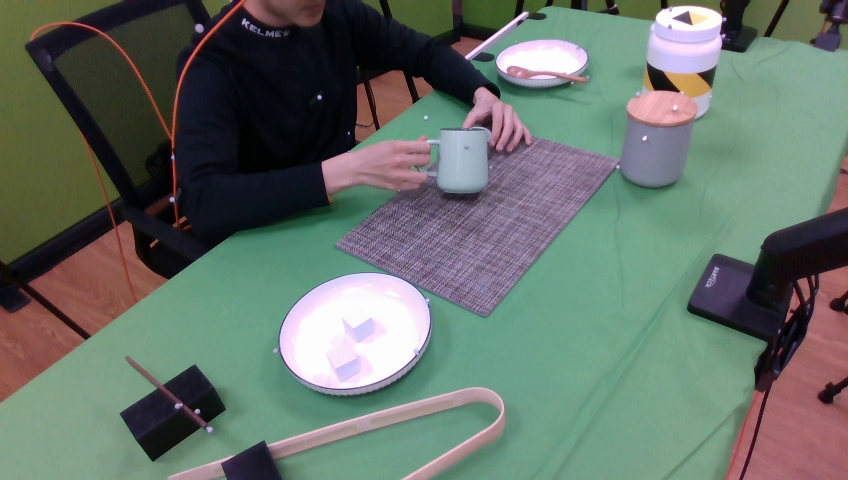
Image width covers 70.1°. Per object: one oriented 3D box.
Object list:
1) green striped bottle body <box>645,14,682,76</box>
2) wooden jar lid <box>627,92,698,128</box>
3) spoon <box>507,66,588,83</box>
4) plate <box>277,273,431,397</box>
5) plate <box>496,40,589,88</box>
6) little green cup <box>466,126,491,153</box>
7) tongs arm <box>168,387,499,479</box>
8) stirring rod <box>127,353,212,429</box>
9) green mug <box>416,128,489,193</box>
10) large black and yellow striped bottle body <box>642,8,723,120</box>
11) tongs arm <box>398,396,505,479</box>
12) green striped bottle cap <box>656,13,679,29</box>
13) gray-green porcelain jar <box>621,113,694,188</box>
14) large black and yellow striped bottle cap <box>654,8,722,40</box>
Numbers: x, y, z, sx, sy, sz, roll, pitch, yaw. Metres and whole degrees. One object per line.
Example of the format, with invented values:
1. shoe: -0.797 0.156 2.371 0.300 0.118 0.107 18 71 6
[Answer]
1. green striped bottle body: 0.520 -0.424 1.312 0.063 0.120 0.063 -4 40 4
2. wooden jar lid: 0.384 -0.207 0.980 0.108 0.021 0.108 -6 39 5
3. spoon: 0.265 -0.357 1.311 0.192 0.022 0.042 18 47 38
4. plate: -0.091 0.129 0.821 0.207 0.039 0.206 -4 40 4
5. plate: 0.269 -0.398 1.381 0.209 0.038 0.208 -4 41 4
6. little green cup: 0.098 -0.185 1.150 0.061 0.039 0.061 -3 46 4
7. tongs arm: -0.100 0.230 0.711 0.388 0.028 0.028 -13 32 -7
8. stirring rod: -0.311 0.180 0.731 0.175 0.014 0.006 25 53 31
9. green mug: 0.049 -0.136 1.028 0.126 0.105 0.092 -3 14 -10
10. large black and yellow striped bottle body: 0.493 -0.334 1.161 0.131 0.185 0.130 -4 41 4
11. tongs arm: -0.071 0.272 0.652 0.386 0.026 0.050 -21 37 -17
12. green striped bottle cap: 0.515 -0.463 1.278 0.044 0.020 0.044 -6 42 6
13. gray-green porcelain jar: 0.390 -0.161 1.020 0.106 0.127 0.105 -4 41 4
14. large black and yellow striped bottle cap: 0.483 -0.397 1.108 0.115 0.019 0.114 -3 41 3
